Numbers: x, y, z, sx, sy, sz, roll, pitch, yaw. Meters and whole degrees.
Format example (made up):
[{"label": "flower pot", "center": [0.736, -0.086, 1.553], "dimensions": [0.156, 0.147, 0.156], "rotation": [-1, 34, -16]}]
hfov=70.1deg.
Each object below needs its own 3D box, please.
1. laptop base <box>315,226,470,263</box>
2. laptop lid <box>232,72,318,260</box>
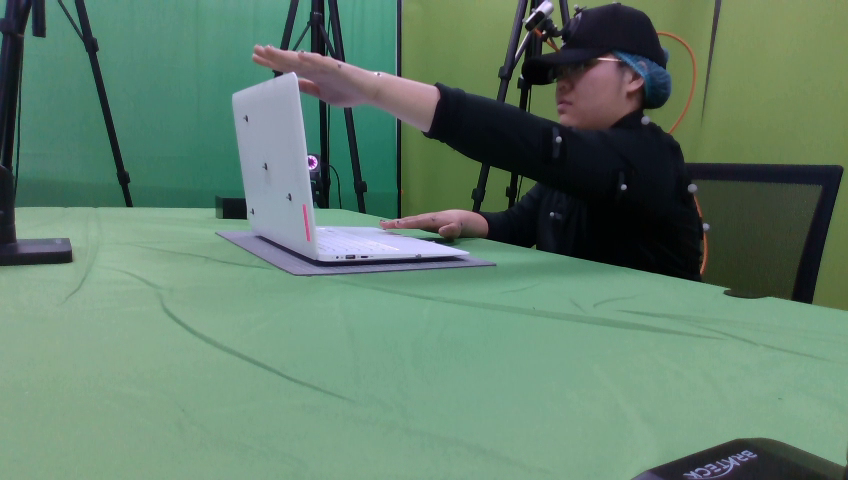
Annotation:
[{"label": "laptop base", "center": [-0.117, 0.005, 0.970], "dimensions": [0.237, 0.023, 0.352], "rotation": [2, 6, -30]}, {"label": "laptop lid", "center": [-0.229, -0.109, 0.888], "dimensions": [0.013, 0.241, 0.355], "rotation": [-10, 14, -28]}]
